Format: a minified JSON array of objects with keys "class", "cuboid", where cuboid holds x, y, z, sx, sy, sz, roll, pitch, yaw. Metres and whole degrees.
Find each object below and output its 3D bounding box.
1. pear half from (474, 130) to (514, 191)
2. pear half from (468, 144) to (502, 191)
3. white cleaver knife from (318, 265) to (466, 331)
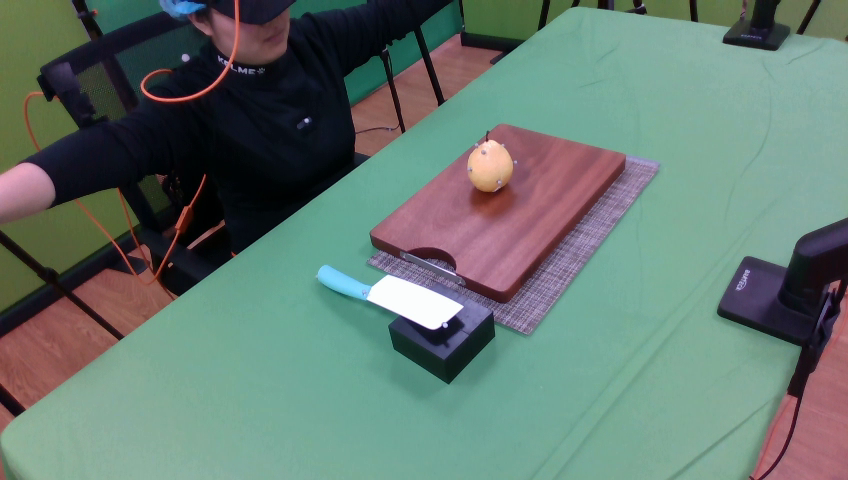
[{"class":"pear half","cuboid":[0.119,-0.142,1.020,0.076,0.110,0.056,26,51,30]},{"class":"pear half","cuboid":[0.097,-0.116,1.007,0.070,0.088,0.031,28,53,26]},{"class":"white cleaver knife","cuboid":[-0.056,0.075,0.871,0.284,0.021,0.066,17,42,43]}]
